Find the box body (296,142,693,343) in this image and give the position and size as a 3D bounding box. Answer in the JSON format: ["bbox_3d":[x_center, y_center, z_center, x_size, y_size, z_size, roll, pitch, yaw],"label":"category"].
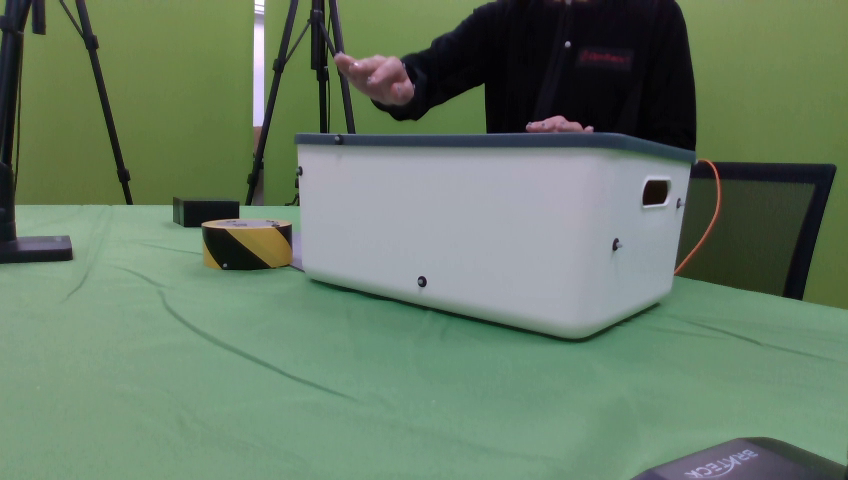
[{"bbox_3d":[0.065,-0.020,0.653,0.362,0.160,0.255,9,9,37],"label":"box body"}]

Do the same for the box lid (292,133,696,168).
[{"bbox_3d":[0.068,-0.094,0.645,0.369,0.015,0.265,9,8,37],"label":"box lid"}]

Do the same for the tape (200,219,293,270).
[{"bbox_3d":[-0.228,0.004,0.778,0.117,0.052,0.117,1,8,0],"label":"tape"}]
